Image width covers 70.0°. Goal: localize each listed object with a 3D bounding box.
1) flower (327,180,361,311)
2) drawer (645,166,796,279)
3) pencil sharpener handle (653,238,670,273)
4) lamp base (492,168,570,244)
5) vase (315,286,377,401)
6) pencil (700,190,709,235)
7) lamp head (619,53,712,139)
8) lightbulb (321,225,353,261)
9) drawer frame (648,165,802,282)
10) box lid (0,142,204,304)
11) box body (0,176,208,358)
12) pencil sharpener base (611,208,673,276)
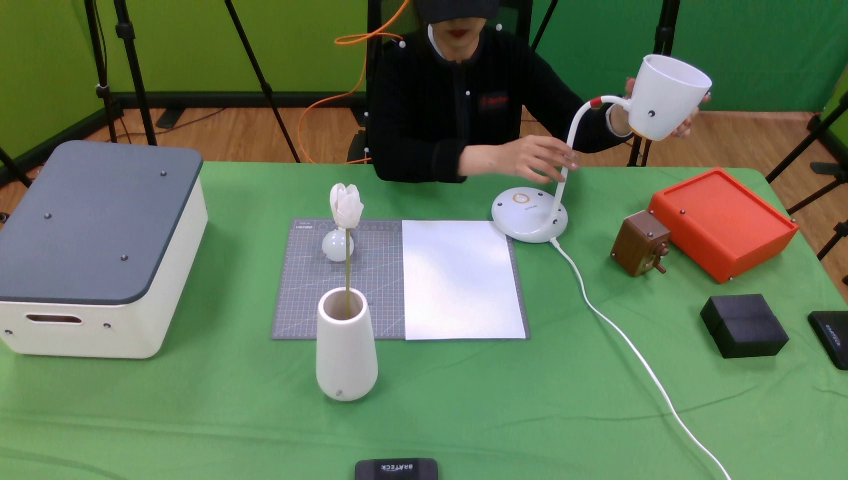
[{"bbox_3d":[-0.110,0.086,0.867,0.044,0.363,0.038,22,33,35],"label":"flower"},{"bbox_3d":[0.600,-0.040,1.236,0.195,0.073,0.210,-21,52,-23],"label":"drawer"},{"bbox_3d":[0.444,0.030,1.120,0.036,0.068,0.030,-25,52,-18],"label":"pencil sharpener handle"},{"bbox_3d":[0.234,-0.102,1.200,0.161,0.181,0.178,-24,55,-25],"label":"lamp base"},{"bbox_3d":[-0.119,0.159,0.911,0.098,0.201,0.097,2,47,-2],"label":"vase"},{"bbox_3d":[0.583,-0.058,1.257,0.012,0.012,0.193,16,35,12],"label":"pencil"},{"bbox_3d":[0.379,-0.228,0.980,0.112,0.123,0.111,14,39,-11],"label":"lamp head"},{"bbox_3d":[-0.163,-0.001,1.164,0.059,0.060,0.107,4,30,0],"label":"lightbulb"},{"bbox_3d":[0.603,-0.040,1.233,0.202,0.083,0.212,-21,51,-23],"label":"drawer frame"},{"bbox_3d":[-0.534,-0.044,0.995,0.263,0.015,0.369,3,45,-3],"label":"box lid"},{"bbox_3d":[-0.546,0.017,1.045,0.254,0.161,0.361,2,46,-2],"label":"box body"},{"bbox_3d":[0.416,0.007,1.158,0.061,0.107,0.076,-21,51,-22],"label":"pencil sharpener base"}]
